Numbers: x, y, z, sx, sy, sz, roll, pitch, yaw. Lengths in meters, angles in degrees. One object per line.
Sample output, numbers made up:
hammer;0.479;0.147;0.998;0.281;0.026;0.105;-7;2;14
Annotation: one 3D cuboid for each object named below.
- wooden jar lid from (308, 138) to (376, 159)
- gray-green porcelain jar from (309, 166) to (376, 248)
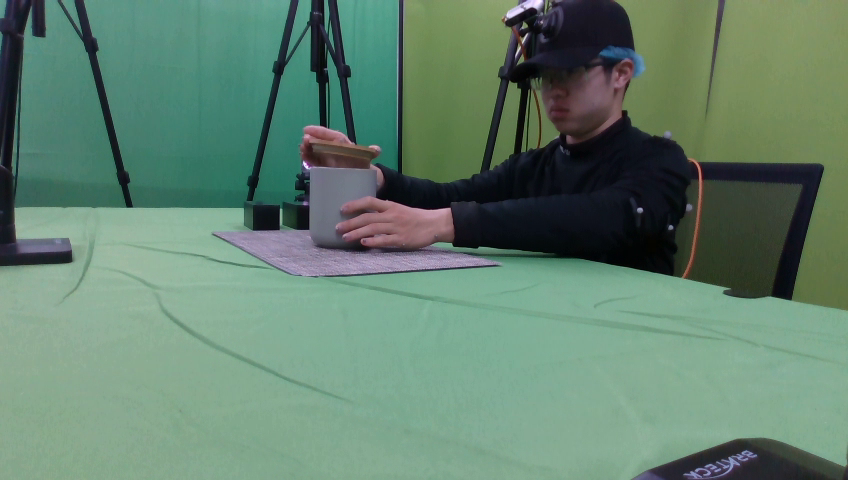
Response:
wooden jar lid;-0.132;-0.146;0.968;0.108;0.020;0.108;8;4;0
gray-green porcelain jar;-0.130;-0.054;0.966;0.106;0.126;0.106;2;7;0
